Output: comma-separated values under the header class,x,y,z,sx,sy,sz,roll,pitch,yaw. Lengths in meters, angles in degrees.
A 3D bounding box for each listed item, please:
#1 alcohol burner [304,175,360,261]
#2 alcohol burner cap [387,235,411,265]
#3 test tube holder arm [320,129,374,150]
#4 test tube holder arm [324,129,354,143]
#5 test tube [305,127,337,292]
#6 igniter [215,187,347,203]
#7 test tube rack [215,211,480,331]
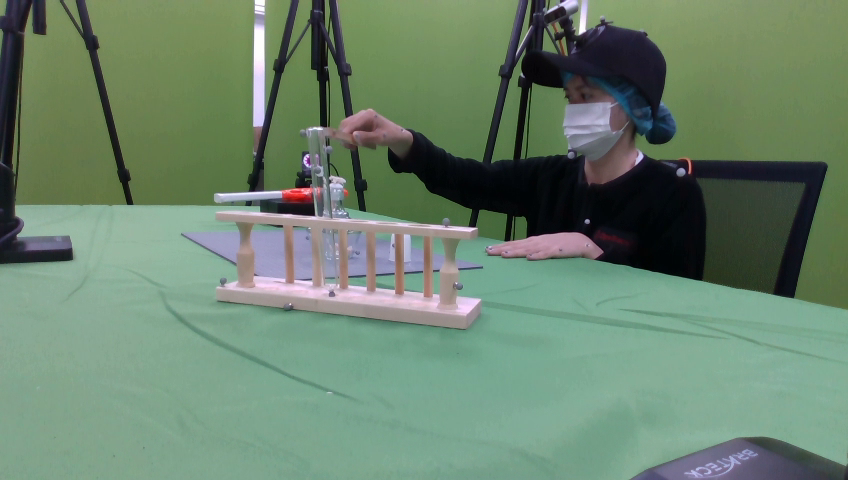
class,x,y,z,sx,sy,sz,roll,pitch,yaw
alcohol burner,-0.126,-0.031,0.838,0.078,0.119,0.078,3,5,0
alcohol burner cap,-0.035,0.009,0.839,0.034,0.048,0.034,2,6,0
test tube holder arm,-0.128,-0.172,1.040,0.013,0.015,0.179,7,4,20
test tube holder arm,-0.139,-0.171,0.996,0.010,0.015,0.088,7,4,20
test tube,-0.092,-0.026,0.546,0.017,0.150,0.017,-4,8,1
igniter,-0.293,-0.095,1.267,0.278,0.025,0.057,-6,12,-34
test tube rack,-0.071,0.023,0.565,0.242,0.085,0.067,5,7,16
